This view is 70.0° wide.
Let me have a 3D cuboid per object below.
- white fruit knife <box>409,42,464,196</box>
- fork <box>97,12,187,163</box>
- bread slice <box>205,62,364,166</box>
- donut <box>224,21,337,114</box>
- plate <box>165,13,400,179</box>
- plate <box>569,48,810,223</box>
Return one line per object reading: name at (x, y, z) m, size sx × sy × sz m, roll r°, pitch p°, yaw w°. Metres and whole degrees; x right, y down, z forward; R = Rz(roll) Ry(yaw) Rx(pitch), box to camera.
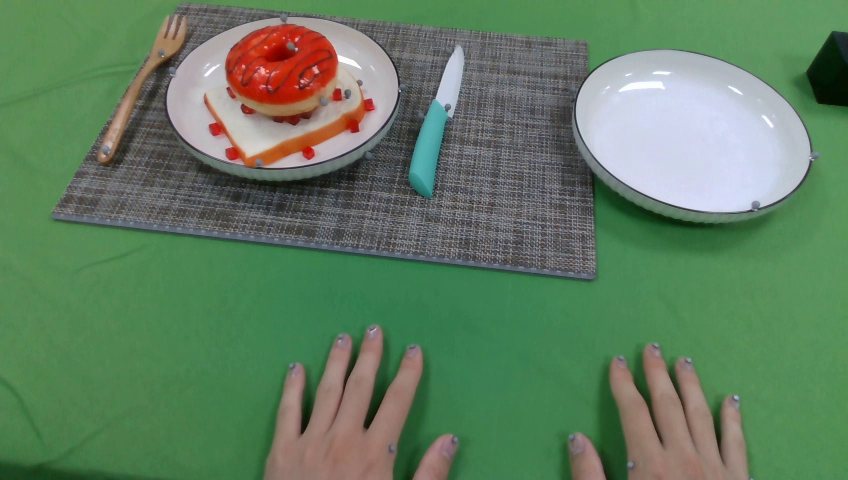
white fruit knife at (0.015, -0.125, 0.576) m, size 0.027 × 0.016 × 0.206 m, roll 28°, pitch 52°, yaw -18°
fork at (-0.269, -0.153, 0.581) m, size 0.028 × 0.019 × 0.205 m, roll 10°, pitch 53°, yaw -4°
bread slice at (-0.124, -0.127, 0.560) m, size 0.131 × 0.019 × 0.104 m, roll -29°, pitch 62°, yaw -19°
donut at (-0.125, -0.152, 0.531) m, size 0.099 × 0.048 × 0.098 m, roll 1°, pitch 55°, yaw -1°
plate at (-0.127, -0.132, 0.561) m, size 0.209 × 0.038 × 0.207 m, roll 1°, pitch 55°, yaw -1°
plate at (0.233, -0.094, 0.551) m, size 0.208 × 0.039 × 0.205 m, roll 1°, pitch 55°, yaw -1°
